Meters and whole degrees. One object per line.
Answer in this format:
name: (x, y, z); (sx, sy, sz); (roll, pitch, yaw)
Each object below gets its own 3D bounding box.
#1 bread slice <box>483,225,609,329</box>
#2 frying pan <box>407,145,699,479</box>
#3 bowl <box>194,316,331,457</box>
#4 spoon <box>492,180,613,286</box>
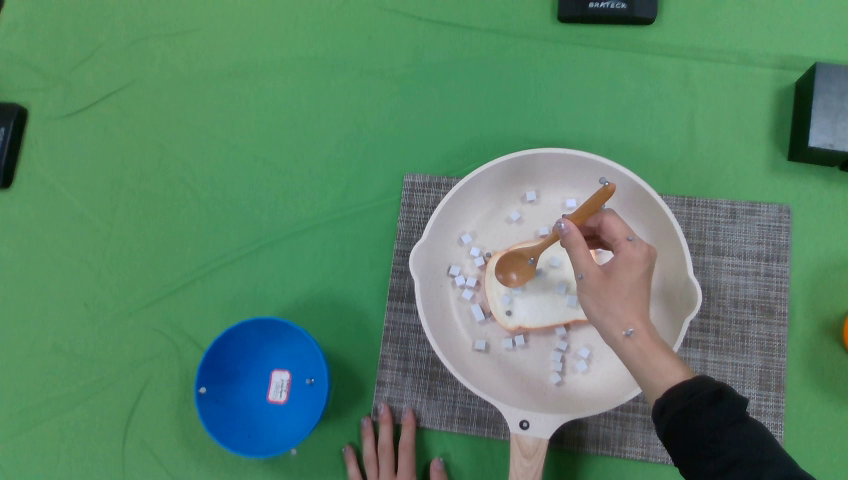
bread slice: (0.135, 0.050, 0.694); (0.134, 0.018, 0.106); (-14, 77, 3)
frying pan: (0.117, 0.141, 0.642); (0.306, 0.103, 0.485); (8, 73, 9)
bowl: (-0.172, 0.164, 0.690); (0.151, 0.077, 0.151); (-1, 80, 6)
spoon: (0.125, -0.002, 0.605); (0.041, 0.194, 0.021); (42, 54, 0)
